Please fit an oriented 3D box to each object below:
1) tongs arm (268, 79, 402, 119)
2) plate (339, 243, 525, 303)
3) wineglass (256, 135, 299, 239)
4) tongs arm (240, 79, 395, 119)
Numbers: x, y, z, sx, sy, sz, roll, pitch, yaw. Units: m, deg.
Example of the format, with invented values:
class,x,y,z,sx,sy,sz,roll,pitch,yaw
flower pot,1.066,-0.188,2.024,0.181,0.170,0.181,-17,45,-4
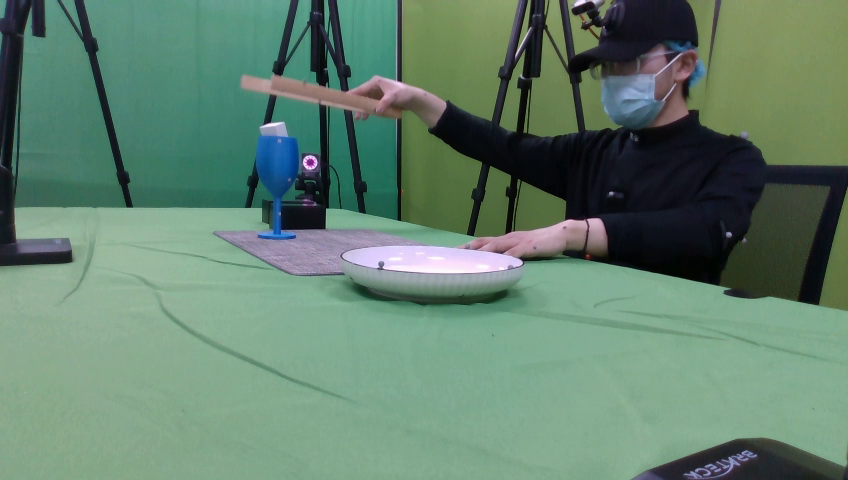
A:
class,x,y,z,sx,sy,sz,roll,pitch,yaw
tongs arm,-0.170,-0.285,1.241,0.050,0.026,0.387,10,8,39
plate,0.008,0.035,0.682,0.209,0.038,0.209,3,7,0
wineglass,-0.252,-0.091,1.035,0.074,0.172,0.073,2,7,0
tongs arm,-0.209,-0.293,1.273,0.028,0.028,0.390,6,5,43
